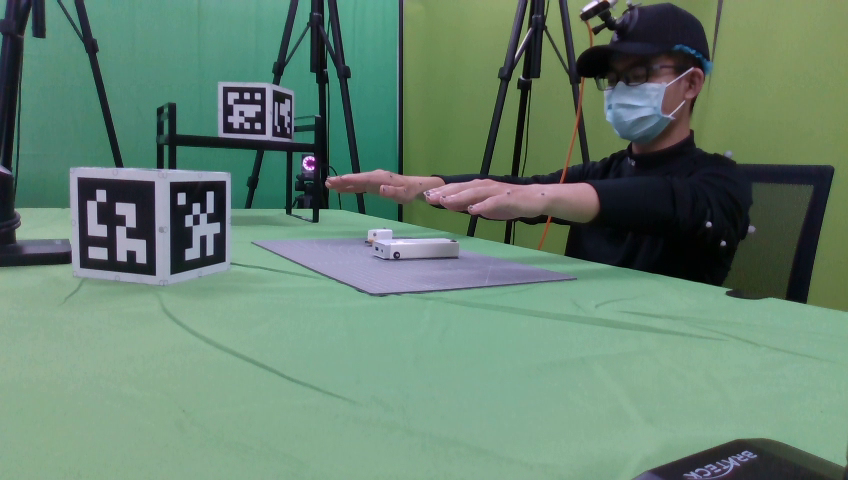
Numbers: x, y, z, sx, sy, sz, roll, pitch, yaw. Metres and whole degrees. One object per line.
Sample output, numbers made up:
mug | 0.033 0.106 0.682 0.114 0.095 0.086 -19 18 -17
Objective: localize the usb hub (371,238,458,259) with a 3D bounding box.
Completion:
usb hub | -0.013 0.012 0.908 0.126 0.025 0.049 -2 9 -29

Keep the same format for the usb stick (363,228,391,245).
usb stick | -0.080 -0.005 1.020 0.021 0.027 0.059 10 13 30
